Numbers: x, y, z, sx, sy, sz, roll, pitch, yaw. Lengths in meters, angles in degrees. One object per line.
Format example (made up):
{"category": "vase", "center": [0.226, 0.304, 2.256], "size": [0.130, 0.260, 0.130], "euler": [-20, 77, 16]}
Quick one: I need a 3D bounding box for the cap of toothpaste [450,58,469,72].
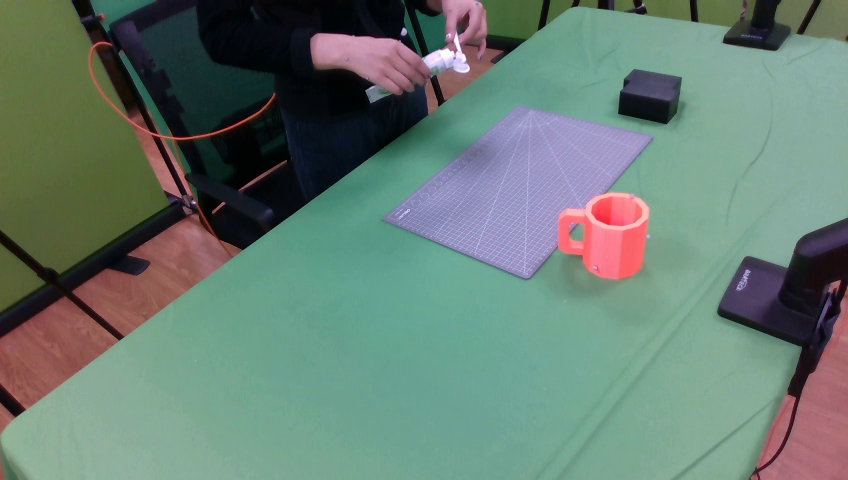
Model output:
{"category": "cap of toothpaste", "center": [0.061, -0.306, 1.056], "size": [0.037, 0.011, 0.037], "euler": [9, 45, -8]}

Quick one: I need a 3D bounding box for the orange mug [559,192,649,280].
{"category": "orange mug", "center": [0.261, -0.008, 0.884], "size": [0.126, 0.101, 0.083], "euler": [9, 43, 14]}

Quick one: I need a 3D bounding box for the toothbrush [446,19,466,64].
{"category": "toothbrush", "center": [0.055, -0.365, 1.099], "size": [0.014, 0.017, 0.180], "euler": [-45, 32, 27]}

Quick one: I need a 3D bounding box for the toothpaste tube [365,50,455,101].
{"category": "toothpaste tube", "center": [-0.023, -0.282, 1.035], "size": [0.165, 0.055, 0.034], "euler": [-25, 76, -2]}
